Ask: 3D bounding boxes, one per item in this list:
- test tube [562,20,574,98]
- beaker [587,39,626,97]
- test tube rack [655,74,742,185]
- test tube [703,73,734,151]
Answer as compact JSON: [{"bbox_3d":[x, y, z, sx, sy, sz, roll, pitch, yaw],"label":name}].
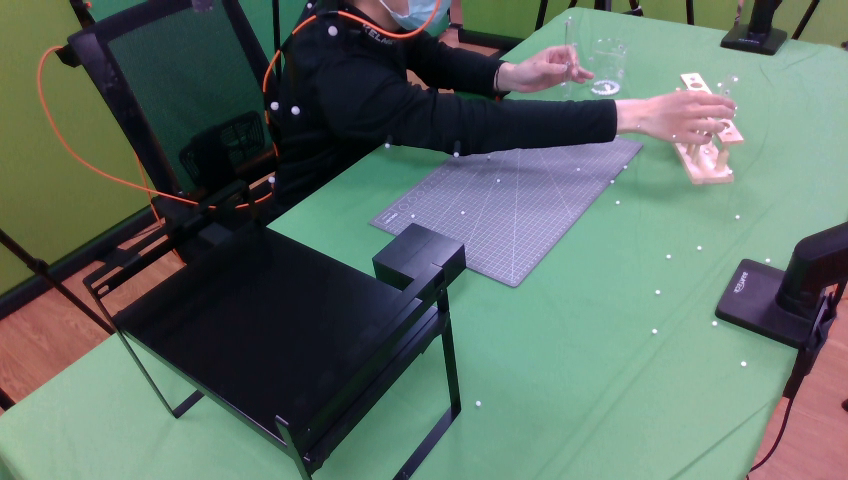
[{"bbox_3d":[0.271,-0.338,1.139,0.017,0.151,0.017,-4,37,4],"label":"test tube"},{"bbox_3d":[0.386,-0.361,1.280,0.074,0.101,0.083,-22,43,-15],"label":"beaker"},{"bbox_3d":[0.488,-0.205,1.093,0.067,0.085,0.241,-3,41,5],"label":"test tube rack"},{"bbox_3d":[0.497,-0.214,1.024,0.017,0.151,0.017,-3,45,4],"label":"test tube"}]
